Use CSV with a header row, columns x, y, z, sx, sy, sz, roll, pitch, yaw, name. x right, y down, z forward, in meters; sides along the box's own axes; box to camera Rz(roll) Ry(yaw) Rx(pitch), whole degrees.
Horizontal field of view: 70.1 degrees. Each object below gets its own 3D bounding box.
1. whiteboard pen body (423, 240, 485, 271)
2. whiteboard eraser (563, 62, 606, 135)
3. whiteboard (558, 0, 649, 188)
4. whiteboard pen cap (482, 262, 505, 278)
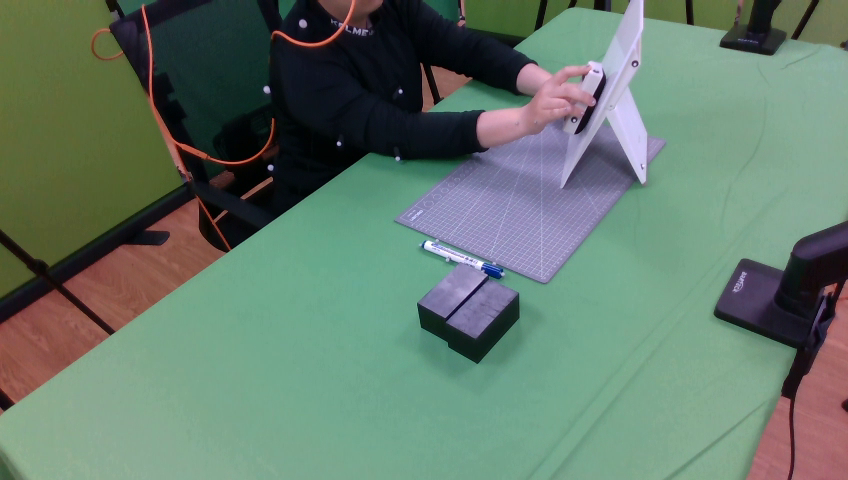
x,y,z,sx,sy,sz,roll,pitch,yaw,name
0.057,0.027,0.942,0.139,0.017,0.017,21,48,30,whiteboard pen body
0.270,-0.235,1.010,0.042,0.113,0.055,20,40,2,whiteboard eraser
0.361,-0.238,1.026,0.144,0.306,0.217,20,44,3,whiteboard
0.104,0.045,0.912,0.033,0.018,0.018,22,48,29,whiteboard pen cap
